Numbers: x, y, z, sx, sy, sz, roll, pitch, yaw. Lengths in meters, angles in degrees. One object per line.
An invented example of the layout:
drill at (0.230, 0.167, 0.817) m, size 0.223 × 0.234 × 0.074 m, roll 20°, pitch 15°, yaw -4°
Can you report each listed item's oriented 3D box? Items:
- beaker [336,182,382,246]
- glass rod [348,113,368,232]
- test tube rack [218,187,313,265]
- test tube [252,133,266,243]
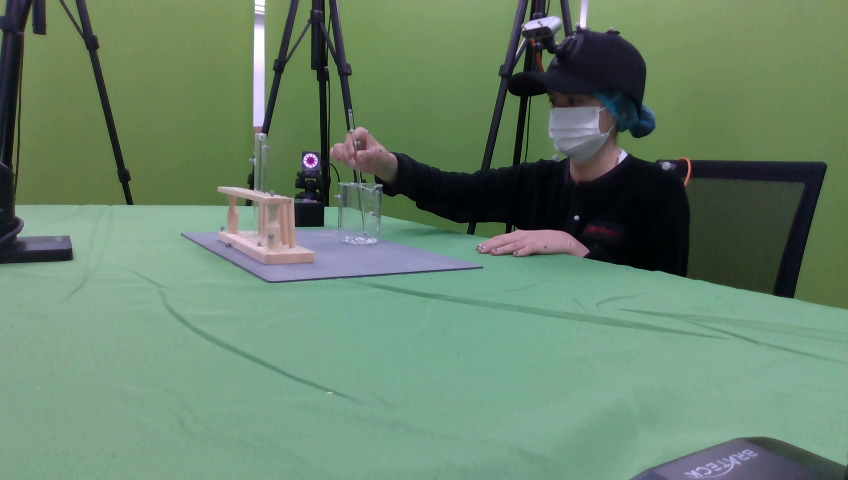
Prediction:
beaker at (-0.107, -0.043, 0.996) m, size 0.074 × 0.100 × 0.083 m, roll -2°, pitch 10°, yaw -29°
glass rod at (-0.110, -0.111, 1.007) m, size 0.008 × 0.199 × 0.008 m, roll -7°, pitch 9°, yaw 1°
test tube rack at (-0.235, -0.027, 0.872) m, size 0.067 × 0.085 × 0.241 m, roll -2°, pitch 8°, yaw -32°
test tube at (-0.225, -0.070, 0.826) m, size 0.017 × 0.150 × 0.017 m, roll 2°, pitch 2°, yaw 0°
